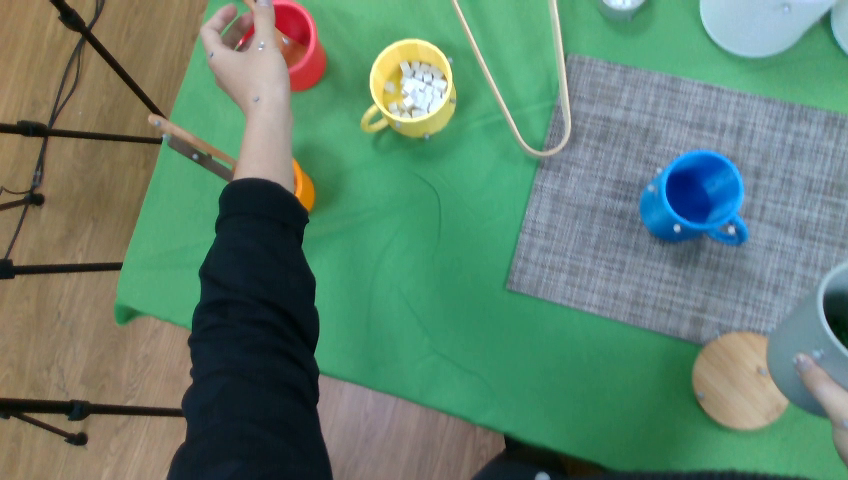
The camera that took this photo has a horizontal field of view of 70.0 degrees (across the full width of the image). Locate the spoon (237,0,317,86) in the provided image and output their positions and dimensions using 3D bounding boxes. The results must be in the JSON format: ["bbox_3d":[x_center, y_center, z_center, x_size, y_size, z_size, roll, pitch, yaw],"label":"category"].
[{"bbox_3d":[-0.201,-0.269,0.738,0.041,0.021,0.196,-40,125,0],"label":"spoon"}]

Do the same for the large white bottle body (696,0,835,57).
[{"bbox_3d":[0.385,-0.293,0.650,0.130,0.185,0.130,-1,83,7],"label":"large white bottle body"}]

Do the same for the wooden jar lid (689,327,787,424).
[{"bbox_3d":[0.357,0.153,0.690,0.108,0.021,0.108,-1,87,9],"label":"wooden jar lid"}]

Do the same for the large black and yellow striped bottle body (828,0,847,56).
[{"bbox_3d":[0.534,-0.272,0.631,0.130,0.184,0.130,-1,83,7],"label":"large black and yellow striped bottle body"}]

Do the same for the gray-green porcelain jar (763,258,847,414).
[{"bbox_3d":[0.370,0.089,0.531,0.106,0.127,0.105,-2,58,4],"label":"gray-green porcelain jar"}]

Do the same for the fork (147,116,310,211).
[{"bbox_3d":[-0.226,-0.089,0.718,0.209,0.018,0.028,30,88,-35],"label":"fork"}]

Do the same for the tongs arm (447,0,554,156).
[{"bbox_3d":[0.061,-0.274,0.741,0.051,0.026,0.384,-23,89,1],"label":"tongs arm"}]

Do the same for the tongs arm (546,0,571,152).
[{"bbox_3d":[0.142,-0.300,0.737,0.028,0.028,0.387,-9,90,-2],"label":"tongs arm"}]

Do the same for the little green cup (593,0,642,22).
[{"bbox_3d":[0.237,-0.300,0.742,0.061,0.039,0.061,-1,85,7],"label":"little green cup"}]

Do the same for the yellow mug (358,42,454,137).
[{"bbox_3d":[-0.027,-0.174,0.747,0.131,0.064,0.099,-36,82,3],"label":"yellow mug"}]

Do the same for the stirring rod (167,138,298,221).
[{"bbox_3d":[-0.222,-0.069,0.719,0.006,0.178,0.014,1,64,50],"label":"stirring rod"}]

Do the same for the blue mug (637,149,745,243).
[{"bbox_3d":[0.301,-0.037,0.670,0.116,0.106,0.082,41,90,9],"label":"blue mug"}]
